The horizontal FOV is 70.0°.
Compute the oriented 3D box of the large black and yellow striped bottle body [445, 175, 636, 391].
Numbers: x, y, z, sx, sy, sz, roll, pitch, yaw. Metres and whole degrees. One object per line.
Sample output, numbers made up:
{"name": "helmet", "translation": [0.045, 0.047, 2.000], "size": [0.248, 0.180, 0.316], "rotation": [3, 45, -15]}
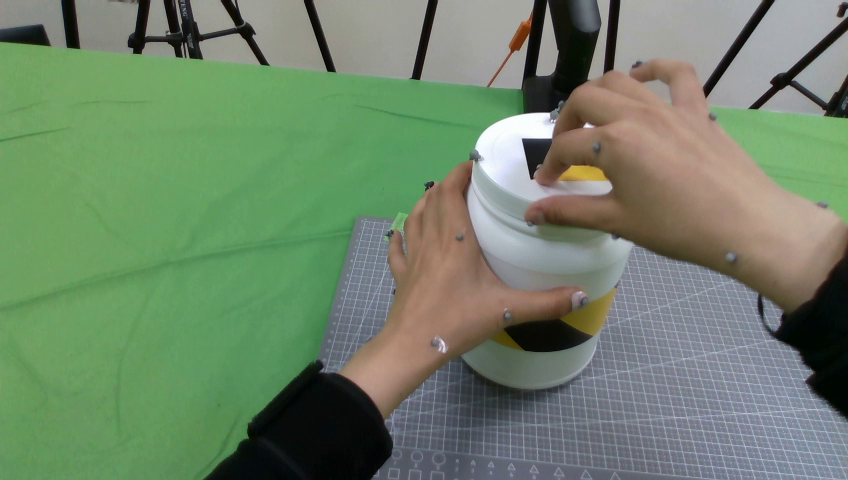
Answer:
{"name": "large black and yellow striped bottle body", "translation": [0.086, 0.015, 0.473], "size": [0.131, 0.185, 0.129], "rotation": [2, 42, -1]}

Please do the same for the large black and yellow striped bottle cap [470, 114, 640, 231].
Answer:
{"name": "large black and yellow striped bottle cap", "translation": [0.089, -0.050, 0.416], "size": [0.115, 0.019, 0.114], "rotation": [2, 43, -2]}
